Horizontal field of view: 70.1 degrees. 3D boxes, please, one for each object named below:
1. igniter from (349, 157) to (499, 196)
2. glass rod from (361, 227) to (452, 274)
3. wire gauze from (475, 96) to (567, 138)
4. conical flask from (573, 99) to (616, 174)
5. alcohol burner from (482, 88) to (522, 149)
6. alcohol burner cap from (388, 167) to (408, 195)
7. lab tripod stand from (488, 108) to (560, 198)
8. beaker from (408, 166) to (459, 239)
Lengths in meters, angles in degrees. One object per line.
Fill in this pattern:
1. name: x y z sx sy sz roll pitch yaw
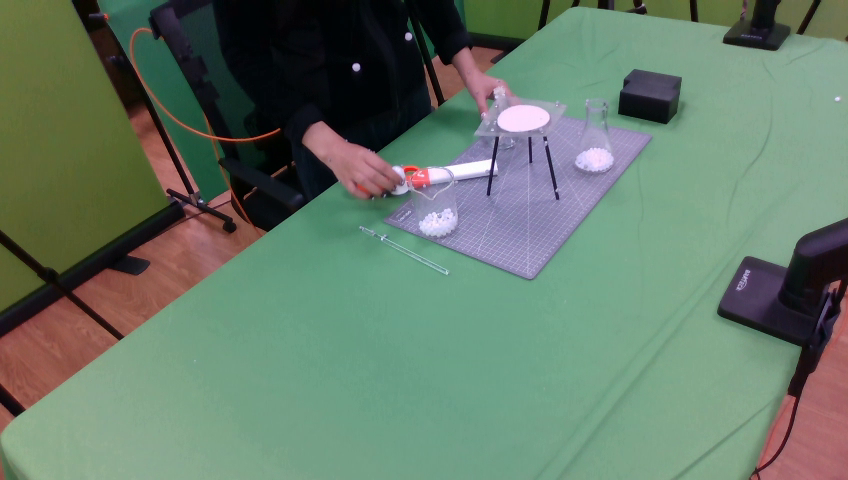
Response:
1. igniter: -0.001 -0.117 1.117 0.276 0.025 0.057 -9 57 2
2. glass rod: -0.033 0.014 0.985 0.198 0.008 0.008 25 52 33
3. wire gauze: 0.161 -0.201 0.994 0.121 0.011 0.125 11 43 23
4. conical flask: 0.302 -0.184 1.061 0.075 0.122 0.075 -5 40 5
5. alcohol burner: 0.149 -0.237 1.160 0.078 0.119 0.077 -4 40 4
6. alcohol burner cap: -0.046 -0.103 1.038 0.034 0.048 0.033 -6 37 5
7. lab tripod stand: 0.173 -0.150 1.037 0.148 0.132 0.147 -6 38 6
8. beaker: 0.018 -0.057 0.984 0.074 0.101 0.083 -6 41 5
